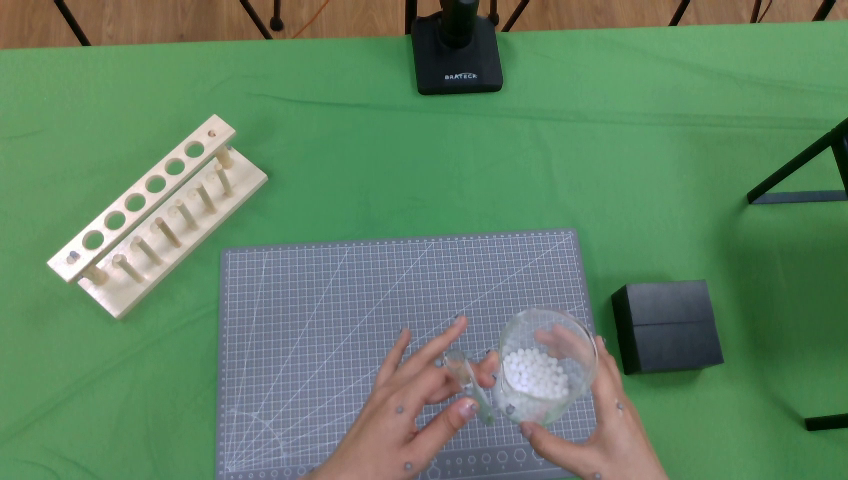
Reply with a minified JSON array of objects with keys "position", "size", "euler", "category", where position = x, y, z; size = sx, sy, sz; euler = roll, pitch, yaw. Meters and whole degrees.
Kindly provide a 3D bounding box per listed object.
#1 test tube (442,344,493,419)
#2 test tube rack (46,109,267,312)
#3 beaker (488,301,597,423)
[{"position":[0.037,0.115,0.474],"size":[0.017,0.152,0.017],"euler":[-7,58,12],"category":"test tube"},{"position":[-0.300,-0.035,0.707],"size":[0.066,0.085,0.242],"euler":[39,72,9],"category":"test tube rack"},{"position":[0.089,0.106,0.491],"size":[0.084,0.101,0.073],"euler":[-35,67,-17],"category":"beaker"}]
